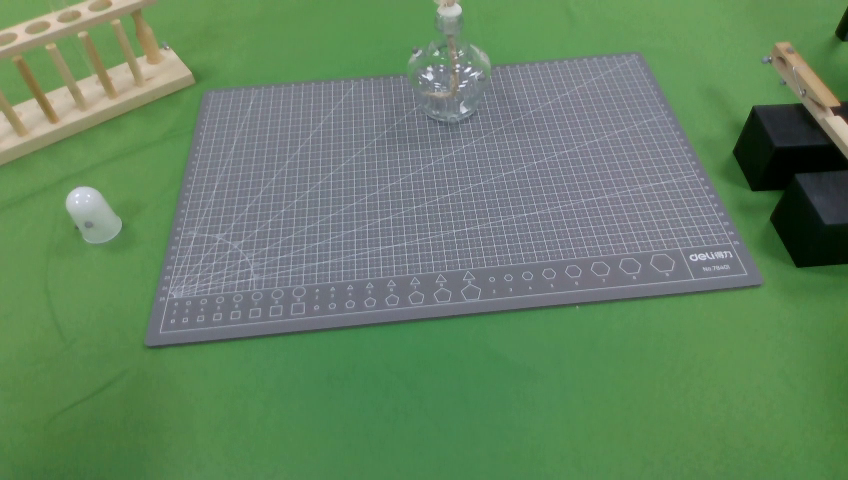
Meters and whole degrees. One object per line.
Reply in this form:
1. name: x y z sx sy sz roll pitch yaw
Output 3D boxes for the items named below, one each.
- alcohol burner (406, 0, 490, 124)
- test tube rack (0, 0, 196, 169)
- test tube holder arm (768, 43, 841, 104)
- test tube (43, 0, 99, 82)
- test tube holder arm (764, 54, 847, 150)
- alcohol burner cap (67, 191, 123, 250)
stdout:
1. alcohol burner: 0.021 -0.165 0.545 0.078 0.120 0.077 0 51 1
2. test tube rack: -0.355 -0.148 0.574 0.242 0.086 0.066 -31 55 -21
3. test tube holder arm: 0.313 -0.135 0.500 0.015 0.010 0.087 -2 49 -7
4. test tube: -0.337 -0.210 0.560 0.017 0.152 0.017 -3 50 4
5. test tube holder arm: 0.317 -0.098 0.475 0.015 0.013 0.176 -2 48 -7
6. alcohol burner cap: -0.270 -0.019 0.492 0.034 0.048 0.033 -1 50 2
